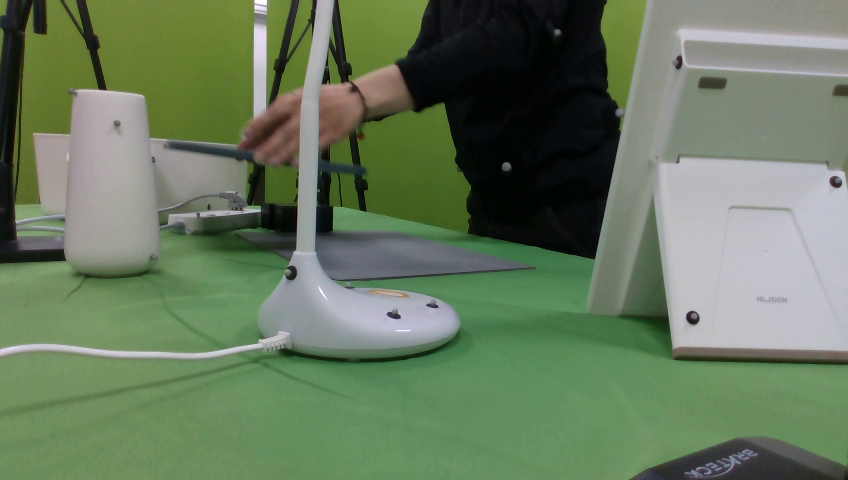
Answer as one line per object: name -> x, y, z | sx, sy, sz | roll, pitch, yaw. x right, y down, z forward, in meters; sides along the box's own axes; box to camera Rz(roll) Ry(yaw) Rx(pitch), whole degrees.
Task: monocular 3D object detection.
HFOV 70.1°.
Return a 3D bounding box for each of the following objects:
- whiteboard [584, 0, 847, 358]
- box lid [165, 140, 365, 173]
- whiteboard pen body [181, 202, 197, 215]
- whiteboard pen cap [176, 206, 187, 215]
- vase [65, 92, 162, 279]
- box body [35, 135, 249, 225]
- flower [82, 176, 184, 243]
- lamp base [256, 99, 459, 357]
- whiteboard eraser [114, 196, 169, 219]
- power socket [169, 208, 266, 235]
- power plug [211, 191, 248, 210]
whiteboard -> 0.269, -0.034, 0.466 | 0.217, 0.305, 0.143 | 2, 27, -1
box lid -> -0.264, -0.129, 0.954 | 0.264, 0.015, 0.370 | 5, 6, -24
whiteboard pen body -> -0.519, -0.070, 1.331 | 0.017, 0.017, 0.140 | 1, 10, -11
whiteboard pen cap -> -0.511, -0.062, 1.274 | 0.018, 0.018, 0.033 | 1, 9, -10
vase -> -0.347, -0.060, 0.673 | 0.098, 0.200, 0.098 | 1, 7, 0
box body -> -0.561, -0.127, 1.258 | 0.254, 0.160, 0.365 | 4, 8, 13
flower -> -0.613, -0.068, 1.288 | 0.044, 0.038, 0.361 | -6, 23, 10
lamp base -> -0.055, -0.013, 0.463 | 0.160, 0.180, 0.180 | 6, 11, 27
whiteboard eraser -> -0.546, -0.063, 1.174 | 0.055, 0.042, 0.112 | 5, 6, 3
power socket -> -0.379, -0.038, 1.129 | 0.072, 0.032, 0.227 | 4, 8, 18
power plug -> -0.384, -0.071, 1.205 | 0.072, 0.052, 0.035 | 1, 8, 26
